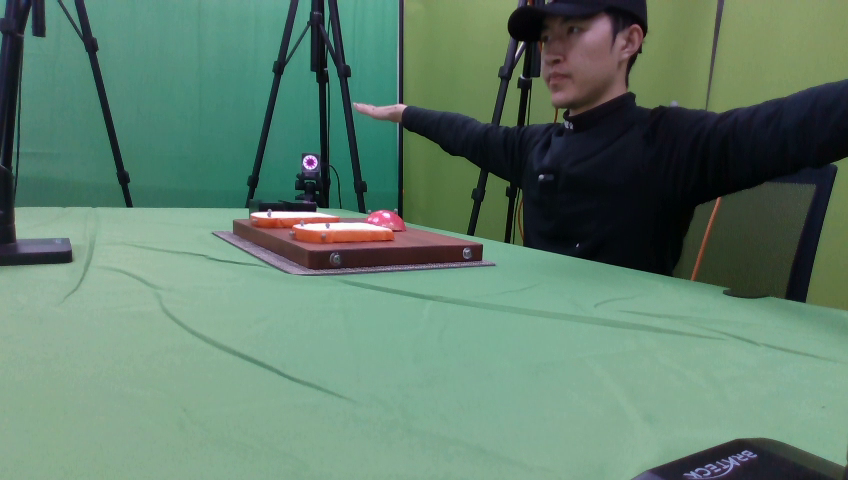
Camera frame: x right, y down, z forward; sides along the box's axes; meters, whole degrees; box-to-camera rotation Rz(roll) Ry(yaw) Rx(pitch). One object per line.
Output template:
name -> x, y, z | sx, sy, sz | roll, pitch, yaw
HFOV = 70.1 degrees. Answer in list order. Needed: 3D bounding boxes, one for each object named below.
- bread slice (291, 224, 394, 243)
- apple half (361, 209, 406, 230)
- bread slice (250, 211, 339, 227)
bread slice -> -0.122, -0.011, 0.869 | 0.132, 0.019, 0.104 | -1, 7, -32
apple half -> -0.065, -0.035, 1.011 | 0.081, 0.033, 0.081 | 2, 4, 0
bread slice -> -0.223, -0.035, 1.021 | 0.135, 0.018, 0.106 | -3, 9, -33
